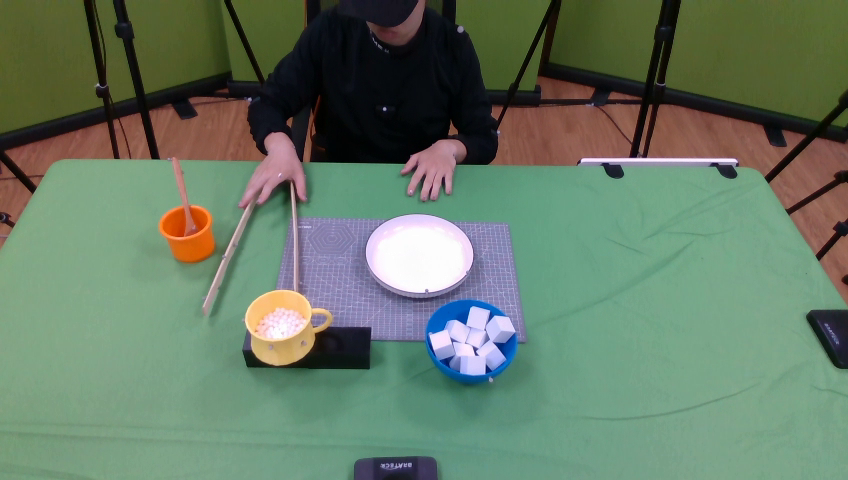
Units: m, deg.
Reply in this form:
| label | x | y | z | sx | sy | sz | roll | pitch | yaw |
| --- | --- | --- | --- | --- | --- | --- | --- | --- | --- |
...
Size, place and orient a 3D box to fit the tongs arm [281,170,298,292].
| label | x | y | z | sx | sy | sz | roll | pitch | yaw |
| --- | --- | --- | --- | --- | --- | --- | --- | --- | --- |
| tongs arm | -0.260 | -0.009 | 1.176 | 0.028 | 0.028 | 0.385 | -9 | 46 | -6 |

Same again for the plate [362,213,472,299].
| label | x | y | z | sx | sy | sz | roll | pitch | yaw |
| --- | --- | --- | --- | --- | --- | --- | --- | --- | --- |
| plate | -0.014 | 0.034 | 1.150 | 0.208 | 0.039 | 0.206 | 2 | 46 | -2 |

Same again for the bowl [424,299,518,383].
| label | x | y | z | sx | sy | sz | roll | pitch | yaw |
| --- | --- | --- | --- | --- | --- | --- | --- | --- | --- |
| bowl | 0.072 | 0.179 | 0.993 | 0.151 | 0.077 | 0.150 | 3 | 46 | -3 |

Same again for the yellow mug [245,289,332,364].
| label | x | y | z | sx | sy | sz | roll | pitch | yaw |
| --- | --- | --- | --- | --- | --- | --- | --- | --- | --- |
| yellow mug | -0.210 | 0.133 | 0.954 | 0.131 | 0.064 | 0.099 | -9 | 48 | -14 |

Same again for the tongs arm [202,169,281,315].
| label | x | y | z | sx | sy | sz | roll | pitch | yaw |
| --- | --- | --- | --- | --- | --- | --- | --- | --- | --- |
| tongs arm | -0.343 | -0.010 | 1.171 | 0.051 | 0.026 | 0.382 | 3 | 45 | 1 |

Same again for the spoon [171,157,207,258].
| label | x | y | z | sx | sy | sz | roll | pitch | yaw |
| --- | --- | --- | --- | --- | --- | --- | --- | --- | --- |
| spoon | -0.444 | -0.061 | 1.133 | 0.042 | 0.193 | 0.021 | -12 | 4 | -20 |
